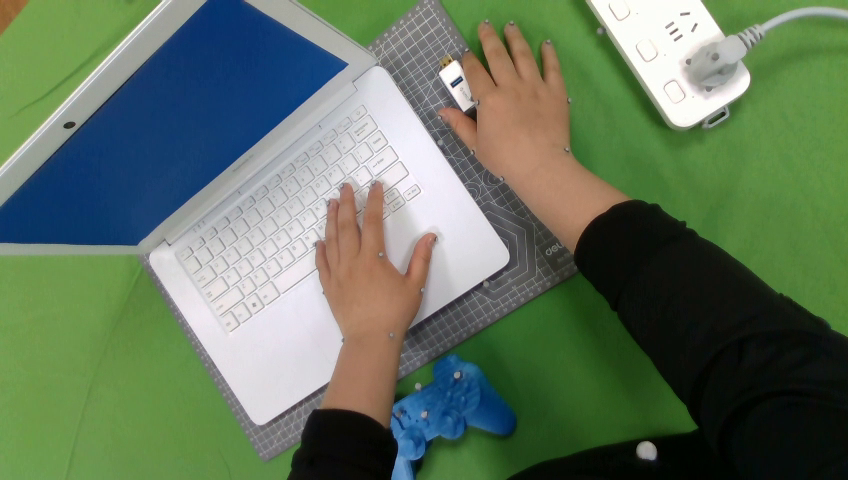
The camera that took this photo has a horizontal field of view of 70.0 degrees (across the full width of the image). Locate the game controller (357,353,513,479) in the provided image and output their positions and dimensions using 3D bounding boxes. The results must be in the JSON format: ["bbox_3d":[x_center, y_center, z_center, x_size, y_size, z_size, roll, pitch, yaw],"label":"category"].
[{"bbox_3d":[0.003,0.182,0.610,0.155,0.052,0.097,-33,82,17],"label":"game controller"}]

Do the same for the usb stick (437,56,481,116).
[{"bbox_3d":[0.030,-0.148,0.570,0.021,0.027,0.059,-30,82,14],"label":"usb stick"}]

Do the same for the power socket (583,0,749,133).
[{"bbox_3d":[0.189,-0.193,0.516,0.072,0.032,0.226,-33,86,18],"label":"power socket"}]

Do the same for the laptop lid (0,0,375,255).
[{"bbox_3d":[-0.225,-0.084,0.537,0.357,0.243,0.013,-35,77,19],"label":"laptop lid"}]

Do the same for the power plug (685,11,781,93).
[{"bbox_3d":[0.247,-0.144,0.484,0.072,0.053,0.035,-22,88,13],"label":"power plug"}]

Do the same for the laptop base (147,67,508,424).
[{"bbox_3d":[-0.116,0.018,0.641,0.354,0.023,0.235,-35,89,17],"label":"laptop base"}]
